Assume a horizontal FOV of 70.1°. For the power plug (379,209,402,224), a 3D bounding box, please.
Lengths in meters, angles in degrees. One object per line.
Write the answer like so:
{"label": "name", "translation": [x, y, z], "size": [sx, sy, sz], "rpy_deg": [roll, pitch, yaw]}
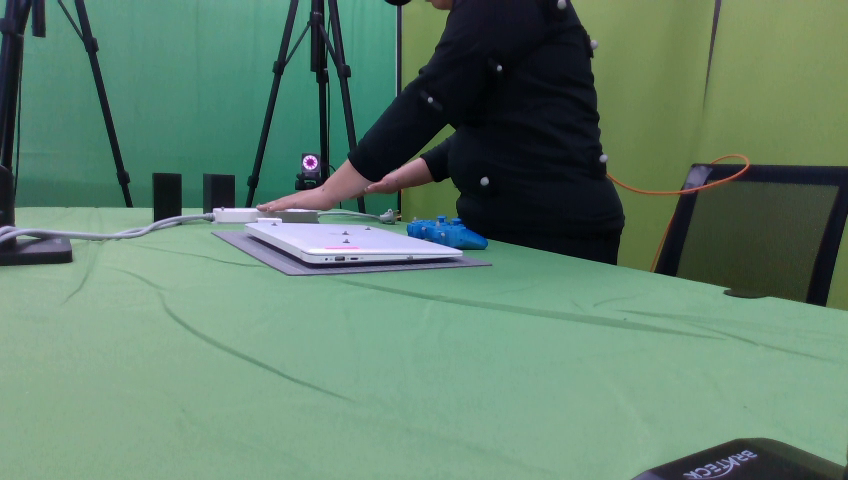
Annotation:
{"label": "power plug", "translation": [-0.081, -0.061, 1.421], "size": [0.053, 0.035, 0.072], "rpy_deg": [-15, 22, -6]}

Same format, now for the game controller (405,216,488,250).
{"label": "game controller", "translation": [0.035, -0.013, 1.067], "size": [0.097, 0.051, 0.154], "rpy_deg": [-7, 10, -29]}

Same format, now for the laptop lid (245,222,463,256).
{"label": "laptop lid", "translation": [-0.126, -0.005, 0.951], "size": [0.243, 0.013, 0.355], "rpy_deg": [1, 7, -28]}

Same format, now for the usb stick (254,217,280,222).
{"label": "usb stick", "translation": [-0.296, -0.028, 1.114], "size": [0.059, 0.027, 0.021], "rpy_deg": [-4, 12, -30]}

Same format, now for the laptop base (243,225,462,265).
{"label": "laptop base", "translation": [-0.129, 0.007, 0.951], "size": [0.237, 0.023, 0.352], "rpy_deg": [2, 6, -30]}

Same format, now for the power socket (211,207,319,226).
{"label": "power socket", "translation": [-0.334, -0.051, 1.282], "size": [0.228, 0.032, 0.072], "rpy_deg": [-2, 10, -29]}
